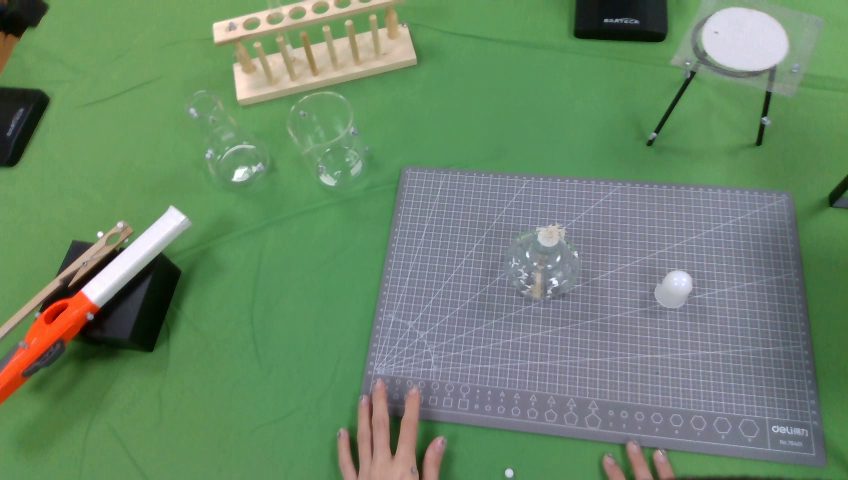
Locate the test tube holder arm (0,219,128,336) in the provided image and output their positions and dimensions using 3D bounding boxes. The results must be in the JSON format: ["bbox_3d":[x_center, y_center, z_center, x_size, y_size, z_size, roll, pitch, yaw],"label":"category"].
[{"bbox_3d":[-0.391,0.041,0.649,0.178,0.015,0.013,-44,97,-15],"label":"test tube holder arm"}]

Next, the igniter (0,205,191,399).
[{"bbox_3d":[-0.360,0.066,0.635,0.057,0.025,0.276,33,70,29],"label":"igniter"}]

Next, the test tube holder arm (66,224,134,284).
[{"bbox_3d":[-0.356,0.015,0.661,0.088,0.015,0.010,-44,97,-15],"label":"test tube holder arm"}]

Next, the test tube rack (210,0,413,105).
[{"bbox_3d":[-0.142,-0.256,0.790,0.242,0.086,0.066,-14,64,-2],"label":"test tube rack"}]

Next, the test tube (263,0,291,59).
[{"bbox_3d":[-0.187,-0.283,0.752,0.017,0.151,0.017,0,61,1],"label":"test tube"}]

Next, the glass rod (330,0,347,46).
[{"bbox_3d":[-0.120,-0.315,0.743,0.008,0.202,0.008,-5,57,9],"label":"glass rod"}]

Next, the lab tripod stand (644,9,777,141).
[{"bbox_3d":[0.328,-0.178,0.683,0.148,0.132,0.147,-1,63,3],"label":"lab tripod stand"}]

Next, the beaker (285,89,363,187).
[{"bbox_3d":[-0.115,-0.113,0.711,0.073,0.101,0.083,19,68,15],"label":"beaker"}]

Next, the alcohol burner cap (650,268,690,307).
[{"bbox_3d":[0.258,0.046,0.629,0.034,0.048,0.033,-2,64,4],"label":"alcohol burner cap"}]

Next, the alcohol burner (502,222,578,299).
[{"bbox_3d":[0.120,0.015,0.617,0.078,0.120,0.077,-1,63,3],"label":"alcohol burner"}]

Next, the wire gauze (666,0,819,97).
[{"bbox_3d":[0.330,-0.208,0.622,0.121,0.011,0.124,26,70,15],"label":"wire gauze"}]

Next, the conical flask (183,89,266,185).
[{"bbox_3d":[-0.240,-0.124,0.715,0.075,0.123,0.074,-2,64,5],"label":"conical flask"}]
